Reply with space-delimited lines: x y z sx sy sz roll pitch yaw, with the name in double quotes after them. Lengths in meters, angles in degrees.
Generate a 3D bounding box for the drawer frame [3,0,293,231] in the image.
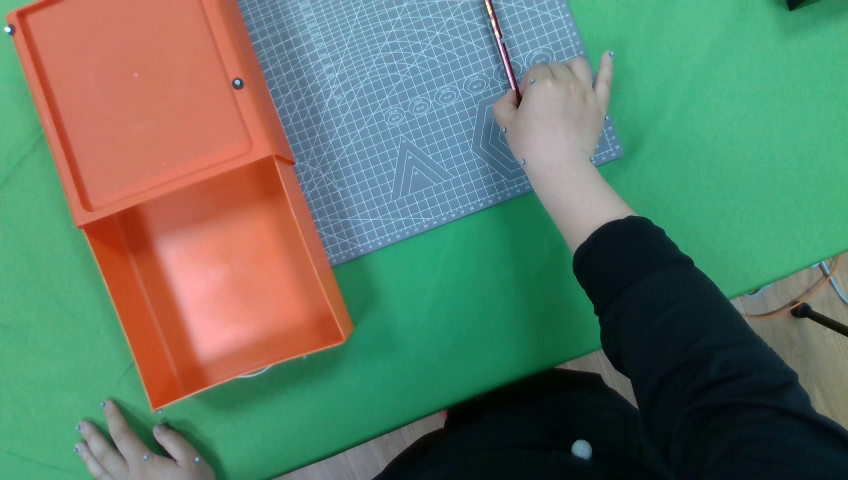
-0.260 -0.138 0.583 0.201 0.083 0.213 -21 89 4 "drawer frame"

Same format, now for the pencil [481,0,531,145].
0.076 -0.186 0.598 0.012 0.012 0.194 -17 88 3 "pencil"

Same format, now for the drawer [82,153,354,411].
-0.197 0.031 0.588 0.194 0.073 0.212 -20 92 3 "drawer"
